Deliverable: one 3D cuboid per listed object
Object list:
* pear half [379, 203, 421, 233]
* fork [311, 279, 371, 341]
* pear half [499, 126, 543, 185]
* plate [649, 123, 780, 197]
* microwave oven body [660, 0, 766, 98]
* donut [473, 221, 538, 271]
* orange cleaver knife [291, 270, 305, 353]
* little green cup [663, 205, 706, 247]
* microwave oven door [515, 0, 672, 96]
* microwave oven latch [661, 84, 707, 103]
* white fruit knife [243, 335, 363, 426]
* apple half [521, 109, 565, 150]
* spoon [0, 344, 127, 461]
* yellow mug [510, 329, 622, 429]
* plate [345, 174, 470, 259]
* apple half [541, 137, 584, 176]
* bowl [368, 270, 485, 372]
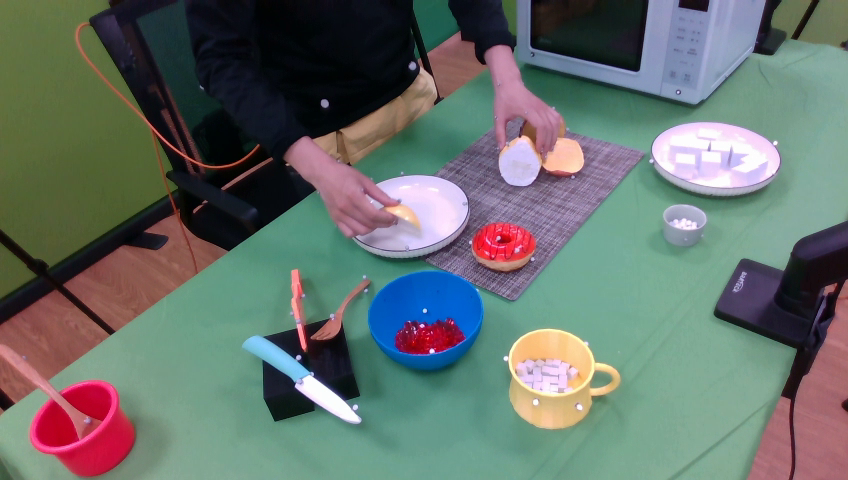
[{"bbox_3d":[-0.035,-0.040,0.946,0.087,0.071,0.031,20,71,51],"label":"pear half"},{"bbox_3d":[-0.108,0.092,0.832,0.028,0.019,0.207,-6,19,15],"label":"fork"},{"bbox_3d":[0.171,-0.156,1.056,0.076,0.110,0.056,4,40,9],"label":"pear half"},{"bbox_3d":[0.497,-0.135,1.046,0.207,0.039,0.206,-4,40,4],"label":"plate"},{"bbox_3d":[0.472,-0.513,1.317,0.438,0.261,0.327,26,51,34],"label":"microwave oven body"},{"bbox_3d":[0.123,0.008,0.923,0.099,0.048,0.098,-3,38,3],"label":"donut"},{"bbox_3d":[-0.175,0.094,0.844,0.012,0.077,0.210,-11,14,-10],"label":"orange cleaver knife"},{"bbox_3d":[0.396,-0.021,0.926,0.061,0.039,0.061,-4,40,4],"label":"little green cup"},{"bbox_3d":[0.343,-0.455,1.259,0.353,0.245,0.039,26,51,33],"label":"microwave oven door"},{"bbox_3d":[0.517,-0.296,1.204,0.078,0.029,0.030,27,52,35],"label":"microwave oven latch"},{"bbox_3d":[-0.148,0.167,0.730,0.206,0.016,0.027,26,80,31],"label":"white fruit knife"},{"bbox_3d":[0.224,-0.212,1.145,0.080,0.075,0.053,-6,36,9],"label":"apple half"},{"bbox_3d":[-0.433,0.191,0.721,0.194,0.021,0.042,47,52,-6],"label":"spoon"},{"bbox_3d":[0.168,0.164,0.721,0.130,0.064,0.099,0,40,8],"label":"yellow mug"},{"bbox_3d":[-0.026,-0.036,1.004,0.209,0.038,0.208,-4,40,4],"label":"plate"},{"bbox_3d":[0.247,-0.146,1.088,0.081,0.033,0.081,-1,66,4],"label":"apple half"},{"bbox_3d":[0.007,0.118,0.791,0.151,0.077,0.150,-5,40,4],"label":"bowl"}]
